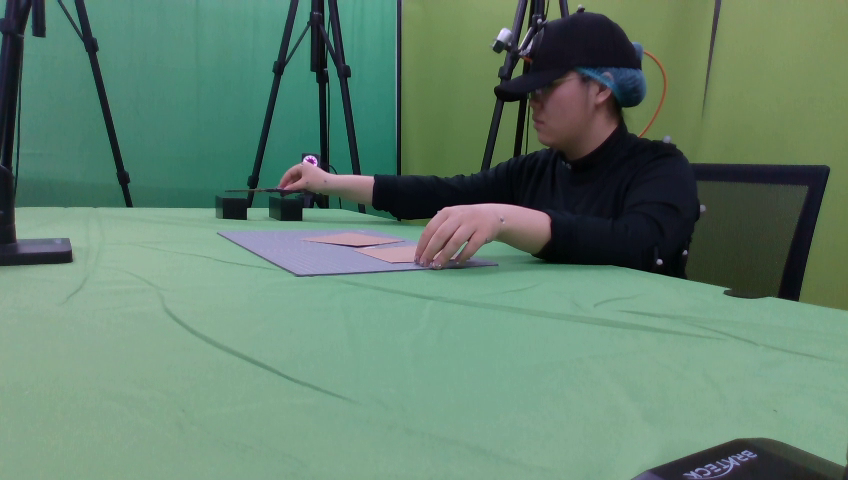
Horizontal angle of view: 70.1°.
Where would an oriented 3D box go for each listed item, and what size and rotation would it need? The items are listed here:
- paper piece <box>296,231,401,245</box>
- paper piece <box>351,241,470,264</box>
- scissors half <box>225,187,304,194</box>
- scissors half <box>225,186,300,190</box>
[{"bbox_3d":[-0.127,-0.003,1.052,0.135,0.004,0.136,7,8,33],"label":"paper piece"},{"bbox_3d":[-0.022,0.019,0.916,0.137,0.008,0.137,-7,12,-31],"label":"paper piece"},{"bbox_3d":[-0.356,-0.112,1.360,0.176,0.013,0.040,0,10,-21],"label":"scissors half"},{"bbox_3d":[-0.366,-0.117,1.377,0.176,0.013,0.040,-4,17,-39],"label":"scissors half"}]
